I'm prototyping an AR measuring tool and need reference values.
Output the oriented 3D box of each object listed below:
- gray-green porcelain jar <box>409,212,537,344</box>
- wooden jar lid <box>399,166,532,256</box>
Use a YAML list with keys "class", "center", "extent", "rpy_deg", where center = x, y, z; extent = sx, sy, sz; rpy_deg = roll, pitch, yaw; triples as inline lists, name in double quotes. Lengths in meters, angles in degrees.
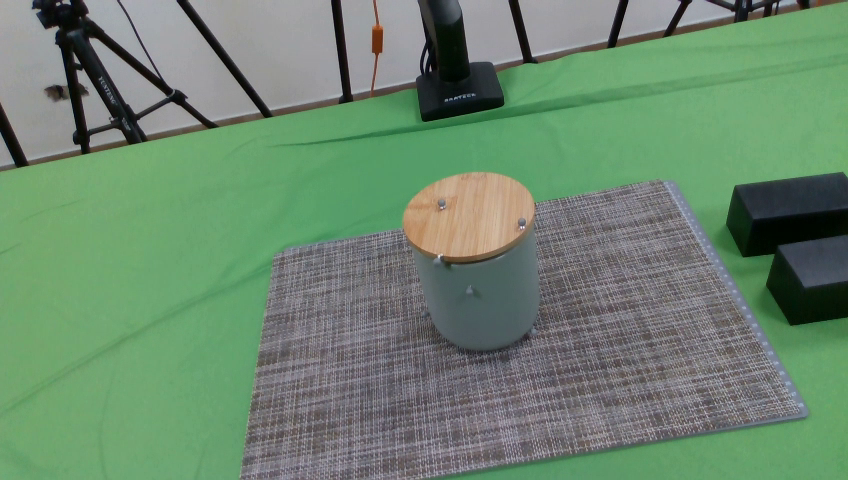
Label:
- class: "gray-green porcelain jar"
  center: [0.047, 0.023, 0.540]
  extent: [0.106, 0.128, 0.105]
  rpy_deg: [-7, 44, 7]
- class: "wooden jar lid"
  center: [0.034, -0.022, 0.495]
  extent: [0.108, 0.021, 0.107]
  rpy_deg: [-7, 43, 6]
